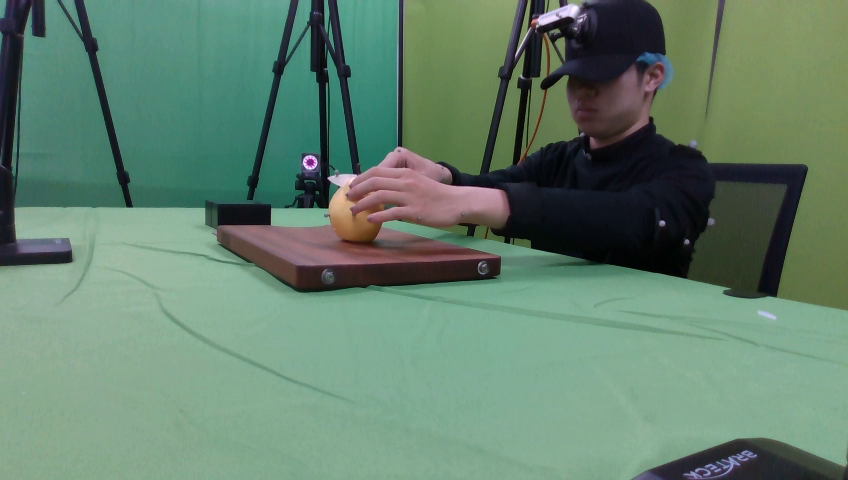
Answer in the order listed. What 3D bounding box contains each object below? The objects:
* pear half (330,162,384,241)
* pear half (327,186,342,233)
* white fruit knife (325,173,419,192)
[{"bbox_3d":[-0.086,-0.053,0.838,0.055,0.110,0.077,10,15,37],"label":"pear half"},{"bbox_3d":[-0.114,-0.046,0.865,0.031,0.088,0.071,4,10,38],"label":"pear half"},{"bbox_3d":[-0.071,-0.087,0.892,0.016,0.027,0.208,6,6,34],"label":"white fruit knife"}]
